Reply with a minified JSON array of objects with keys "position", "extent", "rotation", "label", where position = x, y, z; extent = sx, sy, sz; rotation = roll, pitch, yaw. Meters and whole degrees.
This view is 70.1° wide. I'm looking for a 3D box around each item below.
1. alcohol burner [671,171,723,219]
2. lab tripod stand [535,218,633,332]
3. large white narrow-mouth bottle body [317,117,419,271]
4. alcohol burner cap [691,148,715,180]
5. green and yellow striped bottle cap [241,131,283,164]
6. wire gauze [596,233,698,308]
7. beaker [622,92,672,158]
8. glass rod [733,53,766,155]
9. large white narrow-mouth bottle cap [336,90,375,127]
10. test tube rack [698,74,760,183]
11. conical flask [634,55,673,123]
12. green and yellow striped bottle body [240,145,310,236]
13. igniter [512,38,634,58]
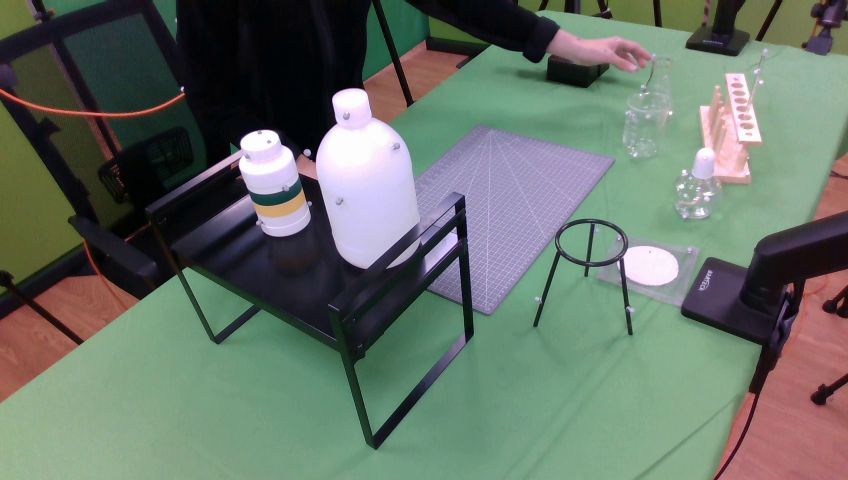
[{"position":[0.434,-0.093,0.955],"extent":[0.078,0.119,0.077],"rotation":[-3,43,3],"label":"alcohol burner"},{"position":[0.215,0.050,0.803],"extent":[0.148,0.132,0.147],"rotation":[-4,43,4],"label":"lab tripod stand"},{"position":[-0.062,-0.065,0.653],"extent":[0.102,0.195,0.101],"rotation":[-3,41,3],"label":"large white narrow-mouth bottle body"},{"position":[0.432,-0.120,0.931],"extent":[0.034,0.048,0.033],"rotation":[-7,48,8],"label":"alcohol burner cap"},{"position":[-0.187,-0.107,0.695],"extent":[0.045,0.020,0.045],"rotation":[-3,39,3],"label":"green and yellow striped bottle cap"},{"position":[0.331,0.038,0.897],"extent":[0.124,0.011,0.121],"rotation":[18,47,26],"label":"wire gauze"},{"position":[0.402,-0.210,1.106],"extent":[0.074,0.101,0.083],"rotation":[-8,40,-2],"label":"beaker"},{"position":[0.540,-0.220,1.007],"extent":[0.008,0.201,0.008],"rotation":[-5,45,6],"label":"glass rod"},{"position":[-0.068,-0.130,0.595],"extent":[0.038,0.024,0.037],"rotation":[-3,41,3],"label":"large white narrow-mouth bottle cap"},{"position":[0.547,-0.208,1.095],"extent":[0.066,0.085,0.242],"rotation":[6,42,15],"label":"test tube rack"},{"position":[0.456,-0.297,1.182],"extent":[0.075,0.122,0.075],"rotation":[-4,41,4],"label":"conical flask"},{"position":[-0.181,-0.068,0.729],"extent":[0.063,0.120,0.063],"rotation":[-4,40,4],"label":"green and yellow striped bottle body"},{"position":[0.328,-0.433,1.360],"extent":[0.275,0.025,0.057],"rotation":[12,33,20],"label":"igniter"}]
